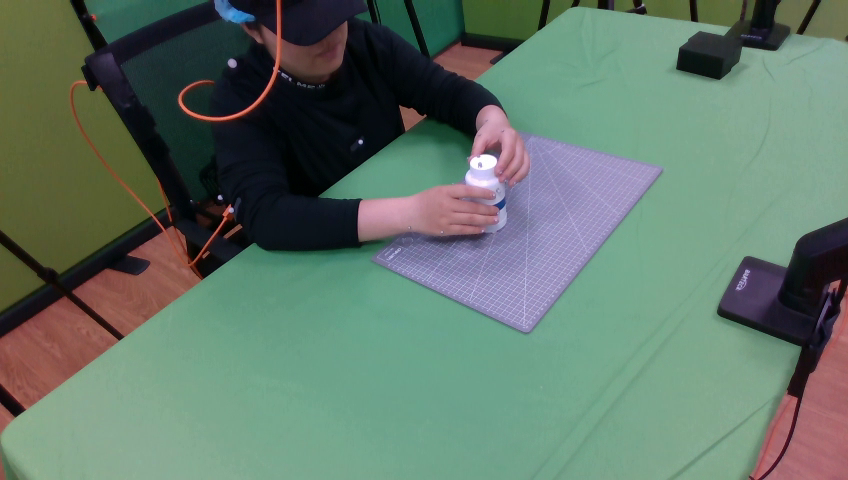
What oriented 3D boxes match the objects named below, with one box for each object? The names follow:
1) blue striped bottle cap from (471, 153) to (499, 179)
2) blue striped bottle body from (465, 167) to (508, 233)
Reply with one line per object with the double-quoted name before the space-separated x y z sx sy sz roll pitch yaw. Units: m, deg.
"blue striped bottle cap" 0.094 -0.115 0.941 0.044 0.021 0.044 -6 42 6
"blue striped bottle body" 0.101 -0.076 0.973 0.063 0.121 0.063 -6 39 5
